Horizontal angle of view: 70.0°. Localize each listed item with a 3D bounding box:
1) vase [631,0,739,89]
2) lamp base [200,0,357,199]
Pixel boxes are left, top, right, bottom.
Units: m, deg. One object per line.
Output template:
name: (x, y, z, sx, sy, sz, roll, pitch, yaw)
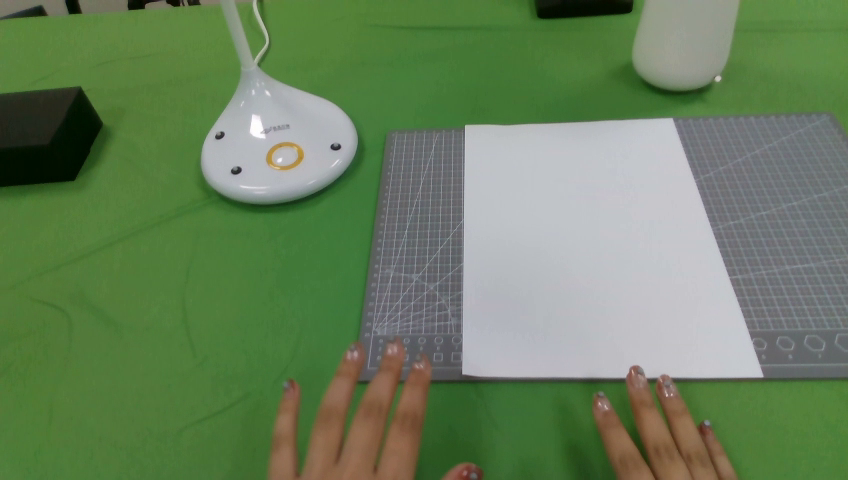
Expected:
vase: (0.267, -0.253, 0.599, 0.098, 0.202, 0.097, -4, 47, 5)
lamp base: (-0.162, -0.158, 0.576, 0.161, 0.182, 0.177, -25, 49, -15)
